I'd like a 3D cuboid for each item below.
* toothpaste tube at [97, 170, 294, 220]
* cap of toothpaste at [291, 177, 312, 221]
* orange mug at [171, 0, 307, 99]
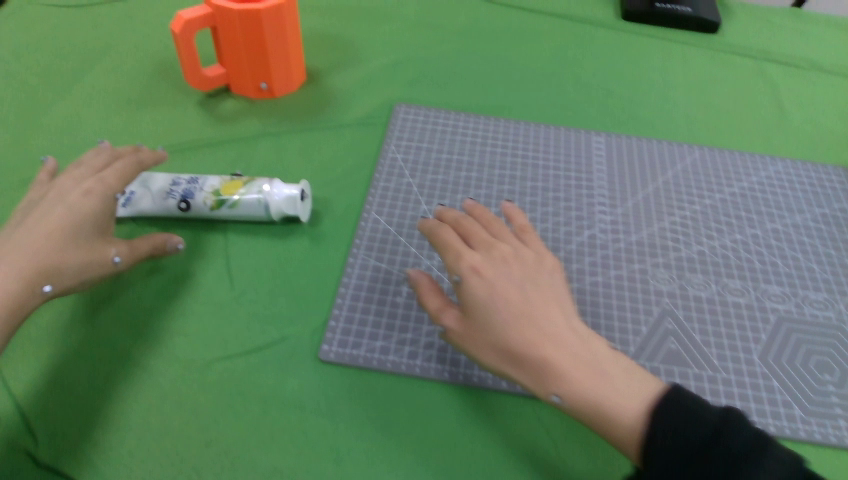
[{"bbox_3d":[-0.178,-0.038,0.497,0.165,0.035,0.054,2,44,2],"label":"toothpaste tube"},{"bbox_3d":[-0.100,-0.033,0.491,0.011,0.037,0.037,2,49,2],"label":"cap of toothpaste"},{"bbox_3d":[-0.176,-0.196,0.586,0.126,0.101,0.082,-28,57,-31],"label":"orange mug"}]
